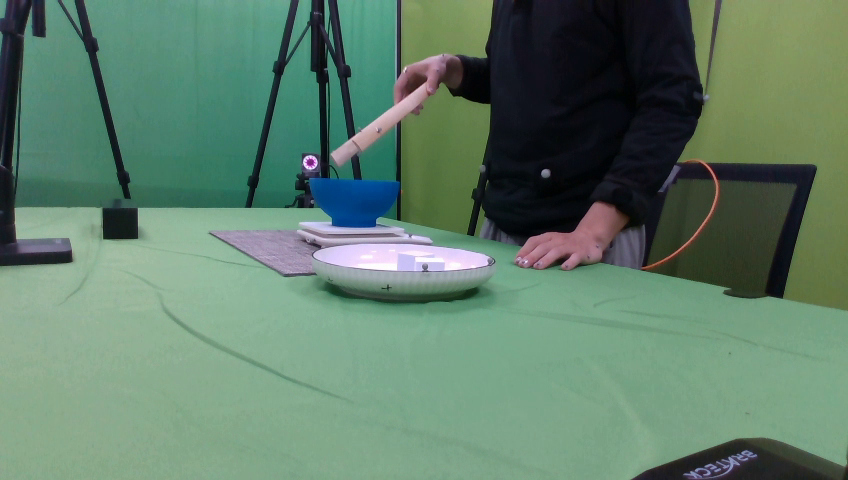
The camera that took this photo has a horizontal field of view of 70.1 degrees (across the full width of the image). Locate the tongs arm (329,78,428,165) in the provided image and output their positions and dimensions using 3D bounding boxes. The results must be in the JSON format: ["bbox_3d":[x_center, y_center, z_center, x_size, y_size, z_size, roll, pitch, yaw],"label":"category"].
[{"bbox_3d":[-0.067,-0.229,1.120,0.050,0.026,0.385,-28,15,32],"label":"tongs arm"}]

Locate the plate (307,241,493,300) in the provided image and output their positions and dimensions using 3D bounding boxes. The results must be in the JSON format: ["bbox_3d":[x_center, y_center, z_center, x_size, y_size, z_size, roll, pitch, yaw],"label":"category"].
[{"bbox_3d":[-0.027,0.034,0.684,0.208,0.039,0.207,2,7,0],"label":"plate"}]

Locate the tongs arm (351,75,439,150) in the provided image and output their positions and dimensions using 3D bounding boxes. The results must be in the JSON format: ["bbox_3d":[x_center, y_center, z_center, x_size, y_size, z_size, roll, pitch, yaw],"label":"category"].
[{"bbox_3d":[-0.041,-0.241,1.101,0.028,0.028,0.388,-32,13,34],"label":"tongs arm"}]

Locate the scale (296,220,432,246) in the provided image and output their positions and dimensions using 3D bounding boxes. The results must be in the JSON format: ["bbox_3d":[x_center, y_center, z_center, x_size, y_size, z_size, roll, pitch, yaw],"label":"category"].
[{"bbox_3d":[-0.101,-0.012,1.017,0.202,0.031,0.148,-1,8,-30],"label":"scale"}]

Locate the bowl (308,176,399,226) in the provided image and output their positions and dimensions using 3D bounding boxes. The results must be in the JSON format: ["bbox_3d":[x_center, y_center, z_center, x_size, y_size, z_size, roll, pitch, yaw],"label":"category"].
[{"bbox_3d":[-0.116,-0.064,1.001,0.151,0.077,0.151,2,6,0],"label":"bowl"}]
